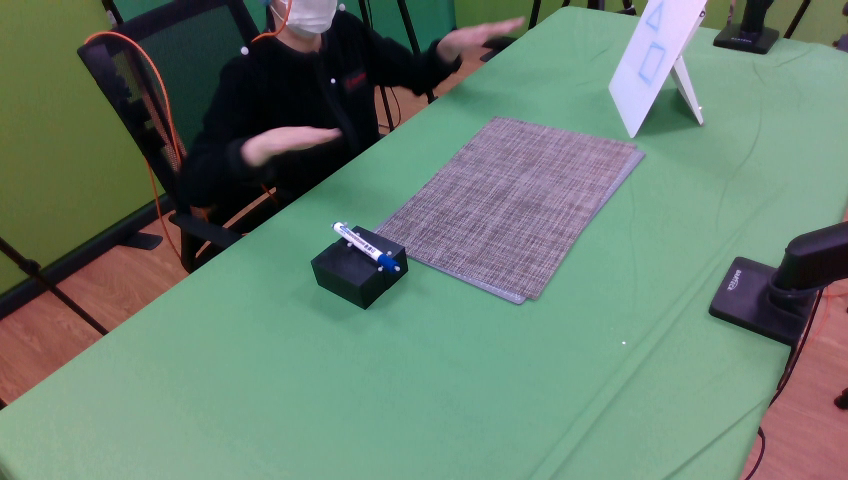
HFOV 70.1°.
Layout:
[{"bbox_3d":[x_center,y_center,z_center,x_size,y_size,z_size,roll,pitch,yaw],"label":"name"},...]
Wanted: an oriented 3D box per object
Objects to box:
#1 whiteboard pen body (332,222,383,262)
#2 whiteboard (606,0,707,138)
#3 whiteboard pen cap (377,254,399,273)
[{"bbox_3d":[-0.093,0.006,0.905,0.017,0.017,0.139,-34,47,-28],"label":"whiteboard pen body"},{"bbox_3d":[0.496,-0.359,1.147,0.144,0.305,0.216,12,40,-7],"label":"whiteboard"},{"bbox_3d":[-0.052,0.033,0.869,0.018,0.018,0.033,-34,46,-28],"label":"whiteboard pen cap"}]
